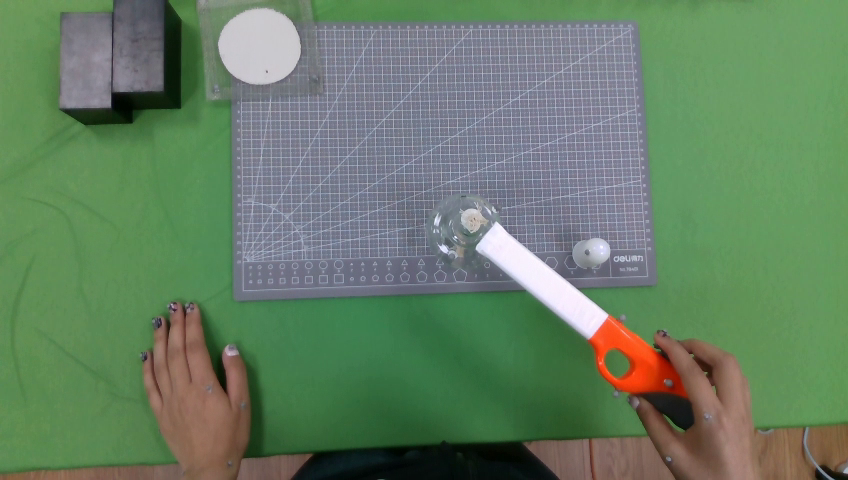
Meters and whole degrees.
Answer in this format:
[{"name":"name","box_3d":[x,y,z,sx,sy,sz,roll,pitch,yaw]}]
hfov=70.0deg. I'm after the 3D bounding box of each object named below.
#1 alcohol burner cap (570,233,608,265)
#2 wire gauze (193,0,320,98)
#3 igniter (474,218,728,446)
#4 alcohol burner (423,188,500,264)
[{"name":"alcohol burner cap","box_3d":[0.176,0.008,0.637,0.034,0.048,0.034,0,83,-2]},{"name":"wire gauze","box_3d":[-0.181,-0.215,0.650,0.125,0.011,0.121,-7,84,-4]},{"name":"igniter","box_3d":[0.158,0.080,0.533,0.276,0.025,0.057,40,88,1]},{"name":"alcohol burner","box_3d":[0.039,-0.017,0.594,0.078,0.119,0.077,1,82,-5]}]
